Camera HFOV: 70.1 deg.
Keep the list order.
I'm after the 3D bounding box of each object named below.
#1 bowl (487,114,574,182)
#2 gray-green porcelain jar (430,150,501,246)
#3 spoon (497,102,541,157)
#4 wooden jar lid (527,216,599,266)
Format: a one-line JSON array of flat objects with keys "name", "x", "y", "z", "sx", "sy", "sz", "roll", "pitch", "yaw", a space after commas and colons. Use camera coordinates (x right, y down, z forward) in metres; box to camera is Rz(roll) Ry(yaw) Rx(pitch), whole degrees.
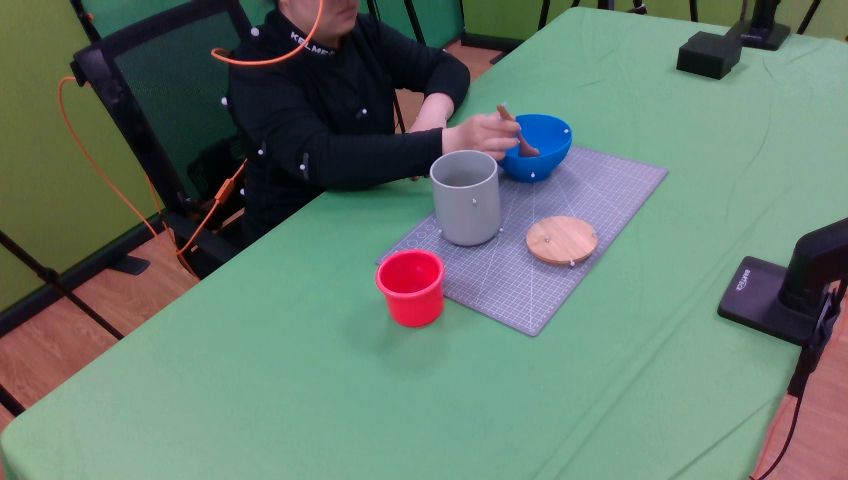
[{"name": "bowl", "x": 0.190, "y": -0.156, "z": 1.085, "sx": 0.151, "sy": 0.077, "sz": 0.150, "roll": -5, "pitch": 40, "yaw": 5}, {"name": "gray-green porcelain jar", "x": 0.069, "y": -0.062, "z": 0.959, "sx": 0.106, "sy": 0.127, "sz": 0.105, "roll": -5, "pitch": 40, "yaw": 5}, {"name": "spoon", "x": 0.158, "y": -0.179, "z": 1.024, "sx": 0.041, "sy": 0.195, "sz": 0.021, "roll": -1, "pitch": 65, "yaw": 29}, {"name": "wooden jar lid", "x": 0.215, "y": 0.003, "z": 0.937, "sx": 0.108, "sy": 0.021, "sz": 0.108, "roll": -4, "pitch": 40, "yaw": 4}]
